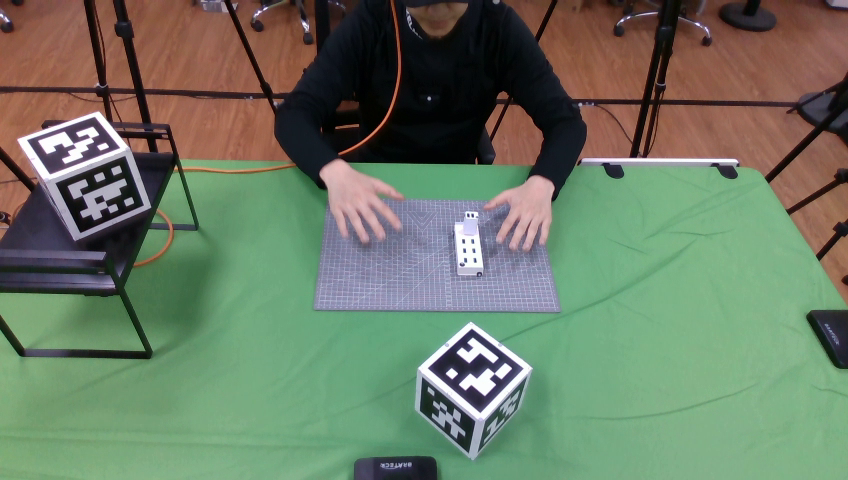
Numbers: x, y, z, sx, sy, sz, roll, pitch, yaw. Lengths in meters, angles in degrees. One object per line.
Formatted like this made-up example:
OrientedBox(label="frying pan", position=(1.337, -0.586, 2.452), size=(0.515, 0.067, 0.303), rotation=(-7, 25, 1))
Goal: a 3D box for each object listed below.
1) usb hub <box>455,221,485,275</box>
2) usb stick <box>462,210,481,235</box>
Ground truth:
OrientedBox(label="usb hub", position=(0.088, 0.014, 1.178), size=(0.049, 0.025, 0.124), rotation=(0, 46, -2))
OrientedBox(label="usb stick", position=(0.092, -0.037, 1.168), size=(0.027, 0.059, 0.021), rotation=(-24, 61, -19))
